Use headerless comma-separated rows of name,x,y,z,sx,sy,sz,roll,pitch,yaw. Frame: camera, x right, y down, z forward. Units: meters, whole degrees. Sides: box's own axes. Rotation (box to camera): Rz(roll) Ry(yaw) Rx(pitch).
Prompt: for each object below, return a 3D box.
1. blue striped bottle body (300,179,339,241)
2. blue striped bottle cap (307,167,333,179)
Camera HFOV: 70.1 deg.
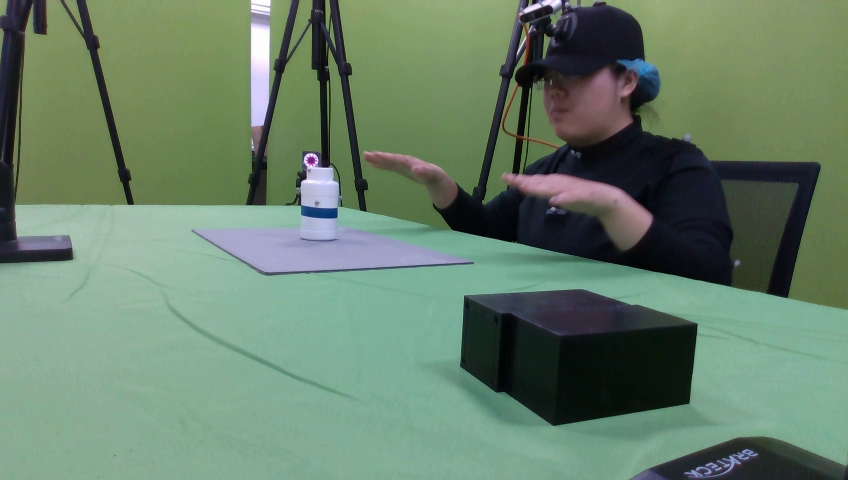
blue striped bottle body,-0.176,-0.062,1.018,0.063,0.120,0.063,3,7,0
blue striped bottle cap,-0.174,-0.112,1.011,0.044,0.020,0.044,2,6,0
